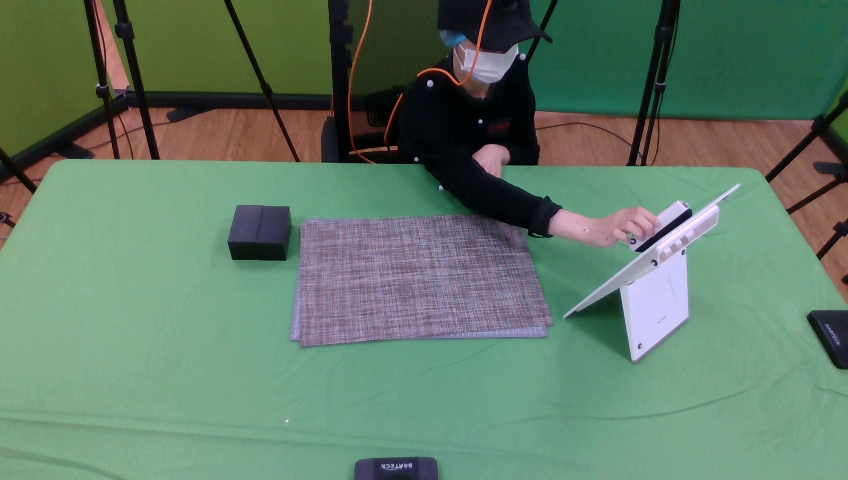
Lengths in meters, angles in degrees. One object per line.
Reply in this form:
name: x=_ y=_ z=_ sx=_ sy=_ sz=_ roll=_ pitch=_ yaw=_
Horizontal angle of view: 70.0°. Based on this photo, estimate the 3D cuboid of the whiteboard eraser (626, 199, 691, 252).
whiteboard eraser: x=0.400 y=-0.021 z=1.030 sx=0.041 sy=0.113 sz=0.055 roll=52 pitch=24 yaw=12

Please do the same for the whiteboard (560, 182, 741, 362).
whiteboard: x=0.406 y=0.075 z=1.001 sx=0.217 sy=0.306 sz=0.143 roll=-28 pitch=73 yaw=-28
